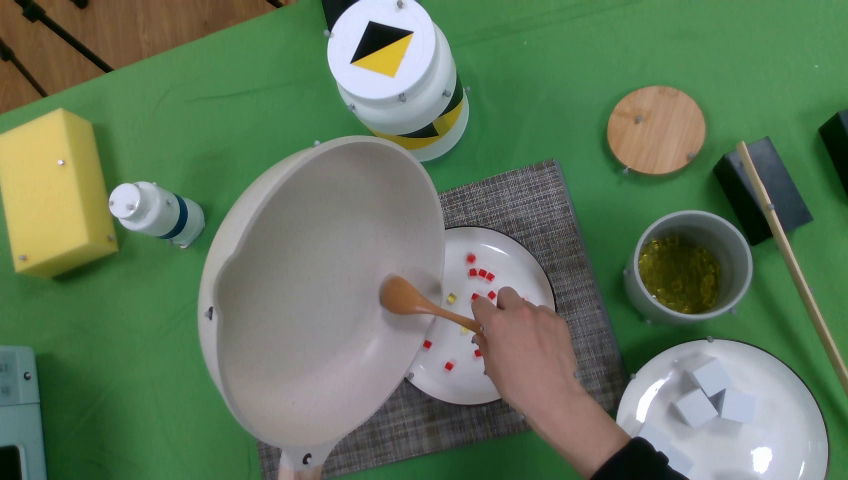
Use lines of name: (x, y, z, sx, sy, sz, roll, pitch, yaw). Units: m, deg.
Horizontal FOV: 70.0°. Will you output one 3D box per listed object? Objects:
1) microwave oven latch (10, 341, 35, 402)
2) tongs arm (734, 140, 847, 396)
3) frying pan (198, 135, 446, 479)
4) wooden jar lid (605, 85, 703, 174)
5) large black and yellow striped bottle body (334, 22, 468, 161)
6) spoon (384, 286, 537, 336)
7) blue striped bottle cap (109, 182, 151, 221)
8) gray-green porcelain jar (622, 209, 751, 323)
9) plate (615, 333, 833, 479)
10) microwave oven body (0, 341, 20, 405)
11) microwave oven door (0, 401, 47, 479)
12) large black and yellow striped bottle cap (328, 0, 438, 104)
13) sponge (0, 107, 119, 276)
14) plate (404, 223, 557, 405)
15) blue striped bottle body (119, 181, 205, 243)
microwave oven latch: (-0.541, 0.175, 0.805, 0.030, 0.029, 0.079, -13, 78, 9)
tongs arm: (0.412, 0.069, 0.610, 0.051, 0.026, 0.384, -21, 87, 6)
frying pan: (-0.103, 0.147, 0.566, 0.102, 0.309, 0.487, 6, 85, 35)
wooden jar lid: (0.269, -0.128, 0.713, 0.108, 0.021, 0.108, -2, 81, 12)
large black and yellow striped bottle body: (-0.025, -0.180, 0.700, 0.130, 0.185, 0.130, -2, 79, 12)
spoon: (0.032, 0.071, 0.628, 0.192, 0.041, 0.022, 8, 116, 42)
blue striped bottle cap: (-0.353, -0.047, 0.726, 0.044, 0.021, 0.044, -2, 82, 12)
gray-green porcelain jar: (0.265, 0.032, 0.631, 0.105, 0.127, 0.105, -2, 79, 12)
plate: (0.308, 0.203, 0.638, 0.207, 0.039, 0.207, -2, 80, 12)
microwave oven body: (-0.660, 0.365, 0.697, 0.326, 0.261, 0.439, -16, 78, 9)
microwave oven door: (-0.512, 0.364, 0.660, 0.039, 0.245, 0.354, -16, 77, 9)
large black and yellow striped bottle cap: (-0.043, -0.196, 0.619, 0.115, 0.019, 0.114, -2, 81, 12)
sponge: (-0.517, -0.066, 0.848, 0.118, 0.061, 0.205, -21, 77, 7)
plate: (0.050, 0.085, 0.709, 0.209, 0.038, 0.208, -2, 80, 12)
blue striped bottle body: (-0.341, -0.037, 0.775, 0.063, 0.121, 0.063, -2, 79, 12)
